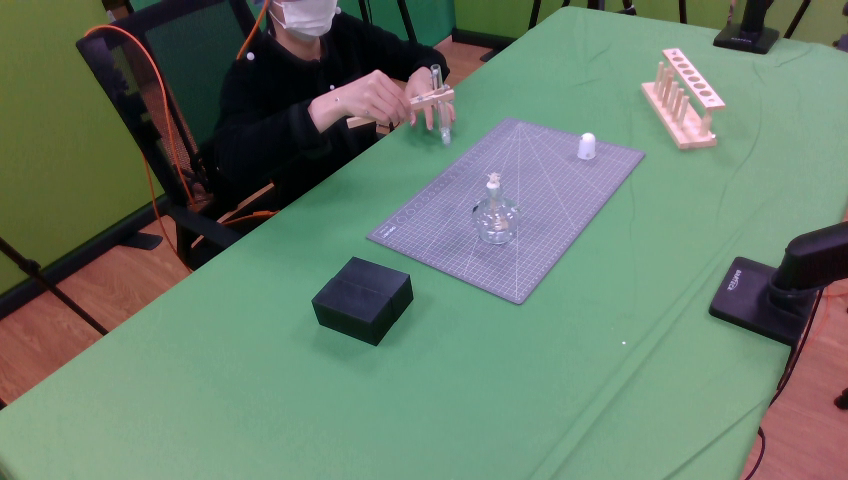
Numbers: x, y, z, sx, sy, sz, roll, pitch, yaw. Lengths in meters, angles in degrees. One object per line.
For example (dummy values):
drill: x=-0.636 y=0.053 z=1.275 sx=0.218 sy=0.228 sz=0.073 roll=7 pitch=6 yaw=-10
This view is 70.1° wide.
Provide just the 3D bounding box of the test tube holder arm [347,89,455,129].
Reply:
test tube holder arm: x=-0.036 y=-0.209 z=0.960 sx=0.179 sy=0.015 sz=0.013 roll=-19 pitch=42 yaw=-10

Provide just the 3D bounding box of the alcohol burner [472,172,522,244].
alcohol burner: x=0.112 y=-0.053 z=0.942 sx=0.078 sy=0.119 sz=0.077 roll=-6 pitch=40 yaw=5

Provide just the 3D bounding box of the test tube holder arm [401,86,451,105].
test tube holder arm: x=0.004 y=-0.227 z=0.973 sx=0.088 sy=0.015 sz=0.010 roll=-24 pitch=44 yaw=-15

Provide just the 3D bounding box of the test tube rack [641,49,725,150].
test tube rack: x=0.495 y=-0.279 z=1.175 sx=0.067 sy=0.085 sz=0.241 roll=-5 pitch=41 yaw=3

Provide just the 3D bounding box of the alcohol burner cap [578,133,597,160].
alcohol burner cap: x=0.301 y=-0.174 z=1.111 sx=0.034 sy=0.048 sz=0.033 roll=-5 pitch=41 yaw=5

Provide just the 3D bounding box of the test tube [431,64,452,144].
test tube: x=0.030 y=-0.219 z=0.990 sx=0.017 sy=0.151 sz=0.017 roll=-6 pitch=47 yaw=7
